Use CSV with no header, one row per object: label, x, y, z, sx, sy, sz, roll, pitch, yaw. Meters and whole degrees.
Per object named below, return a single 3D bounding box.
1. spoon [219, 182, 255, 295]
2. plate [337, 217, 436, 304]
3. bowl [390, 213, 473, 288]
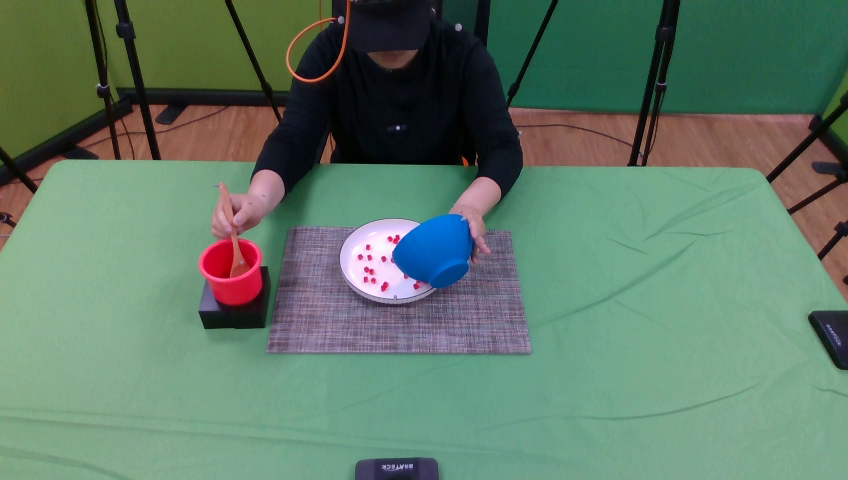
spoon,-0.317,-0.003,1.015,0.042,0.194,0.021,-11,7,-20
plate,-0.058,0.042,1.137,0.208,0.039,0.206,2,46,-2
bowl,0.027,0.030,1.044,0.151,0.152,0.076,-19,62,-20
